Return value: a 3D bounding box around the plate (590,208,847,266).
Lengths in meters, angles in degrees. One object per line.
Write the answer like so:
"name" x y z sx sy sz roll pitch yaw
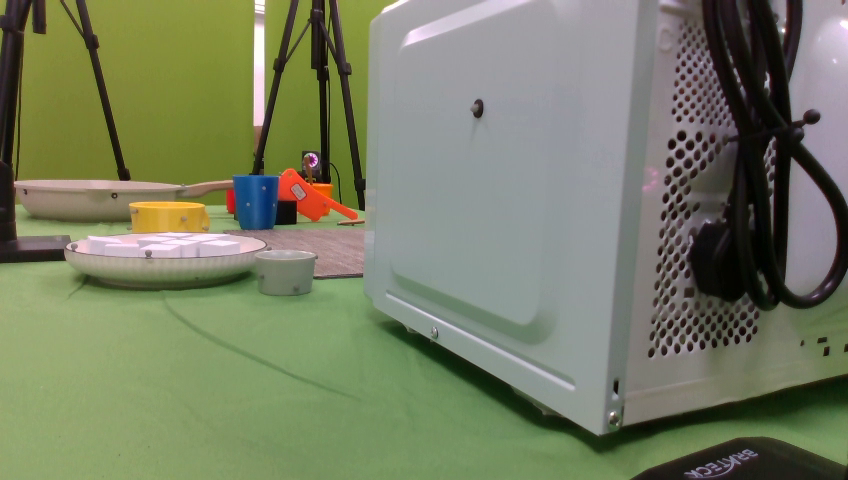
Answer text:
"plate" 0.246 -0.004 0.509 0.209 0.038 0.209 2 4 0

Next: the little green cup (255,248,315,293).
"little green cup" -0.144 0.031 0.627 0.061 0.038 0.061 2 6 0

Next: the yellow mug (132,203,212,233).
"yellow mug" -0.356 -0.020 0.878 0.099 0.064 0.131 4 7 22

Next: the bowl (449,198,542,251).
"bowl" 0.114 -0.025 0.988 0.151 0.077 0.151 2 8 0

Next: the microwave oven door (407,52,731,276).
"microwave oven door" 0.162 -0.086 0.696 0.356 0.243 0.039 2 8 -1

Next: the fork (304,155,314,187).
"fork" -0.268 -0.134 1.447 0.028 0.018 0.207 2 -36 -1

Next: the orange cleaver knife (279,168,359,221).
"orange cleaver knife" -0.236 -0.084 1.333 0.212 0.077 0.012 31 -10 -32

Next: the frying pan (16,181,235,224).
"frying pan" -0.553 -0.096 1.266 0.490 0.102 0.305 -10 13 -24

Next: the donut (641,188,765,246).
"donut" 0.237 -0.018 0.519 0.099 0.048 0.099 5 5 0

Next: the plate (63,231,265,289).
"plate" -0.288 0.021 0.687 0.208 0.039 0.207 2 8 0

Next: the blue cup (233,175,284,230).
"blue cup" -0.314 -0.072 1.142 0.093 0.100 0.092 0 7 0

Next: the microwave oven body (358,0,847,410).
"microwave oven body" 0.210 -0.051 0.471 0.444 0.260 0.324 -1 7 -28

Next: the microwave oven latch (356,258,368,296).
"microwave oven latch" -0.019 0.031 0.528 0.079 0.029 0.030 -1 7 -24

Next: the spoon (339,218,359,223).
"spoon" -0.087 -0.041 1.268 0.193 0.021 0.041 4 22 13
